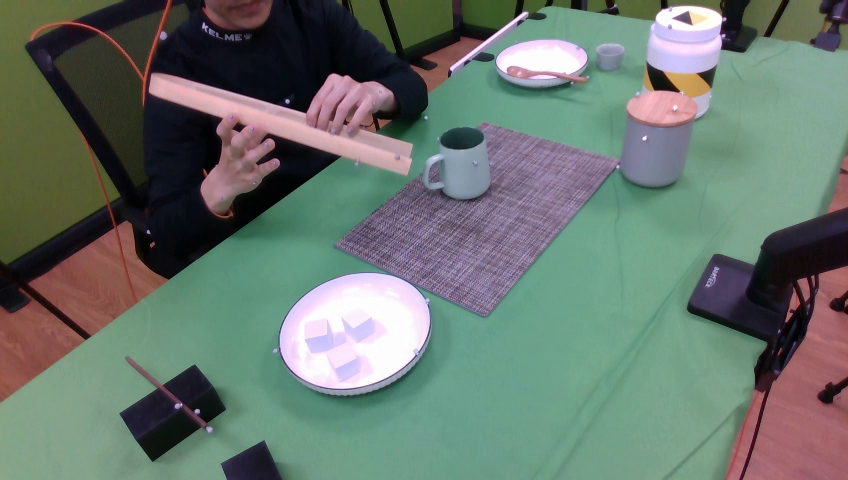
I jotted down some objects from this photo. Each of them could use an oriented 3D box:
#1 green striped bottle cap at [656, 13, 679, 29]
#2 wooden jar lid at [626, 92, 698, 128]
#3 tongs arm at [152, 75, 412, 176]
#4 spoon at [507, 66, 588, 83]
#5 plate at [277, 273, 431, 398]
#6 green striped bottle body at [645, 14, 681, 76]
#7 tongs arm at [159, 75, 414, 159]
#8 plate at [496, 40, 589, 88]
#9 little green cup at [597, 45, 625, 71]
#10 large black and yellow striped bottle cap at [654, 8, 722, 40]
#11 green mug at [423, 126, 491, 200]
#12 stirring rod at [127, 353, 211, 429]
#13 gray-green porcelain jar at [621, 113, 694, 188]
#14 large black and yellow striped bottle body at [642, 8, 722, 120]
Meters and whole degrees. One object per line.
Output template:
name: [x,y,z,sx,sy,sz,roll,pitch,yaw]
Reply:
green striped bottle cap: [0.515,-0.463,1.278,0.044,0.020,0.044,-6,42,6]
wooden jar lid: [0.384,-0.207,0.980,0.108,0.021,0.108,-6,39,5]
tongs arm: [-0.202,-0.162,0.853,0.385,0.026,0.050,17,18,-2]
spoon: [0.265,-0.357,1.311,0.192,0.022,0.042,18,47,38]
plate: [-0.091,0.129,0.821,0.207,0.039,0.206,-4,40,4]
green striped bottle body: [0.520,-0.424,1.312,0.063,0.120,0.063,-4,41,4]
tongs arm: [-0.202,-0.185,0.928,0.389,0.028,0.028,14,22,-14]
plate: [0.268,-0.397,1.381,0.209,0.038,0.208,-4,41,4]
little green cup: [0.422,-0.413,1.375,0.061,0.039,0.061,-3,41,3]
large black and yellow striped bottle cap: [0.483,-0.397,1.108,0.115,0.019,0.114,-3,41,3]
green mug: [0.055,-0.126,1.039,0.126,0.105,0.091,-25,44,-18]
stirring rod: [-0.311,0.180,0.731,0.175,0.014,0.006,25,53,31]
gray-green porcelain jar: [0.390,-0.161,1.020,0.106,0.127,0.105,-4,41,4]
large black and yellow striped bottle body: [0.493,-0.334,1.161,0.131,0.185,0.130,-4,41,4]
